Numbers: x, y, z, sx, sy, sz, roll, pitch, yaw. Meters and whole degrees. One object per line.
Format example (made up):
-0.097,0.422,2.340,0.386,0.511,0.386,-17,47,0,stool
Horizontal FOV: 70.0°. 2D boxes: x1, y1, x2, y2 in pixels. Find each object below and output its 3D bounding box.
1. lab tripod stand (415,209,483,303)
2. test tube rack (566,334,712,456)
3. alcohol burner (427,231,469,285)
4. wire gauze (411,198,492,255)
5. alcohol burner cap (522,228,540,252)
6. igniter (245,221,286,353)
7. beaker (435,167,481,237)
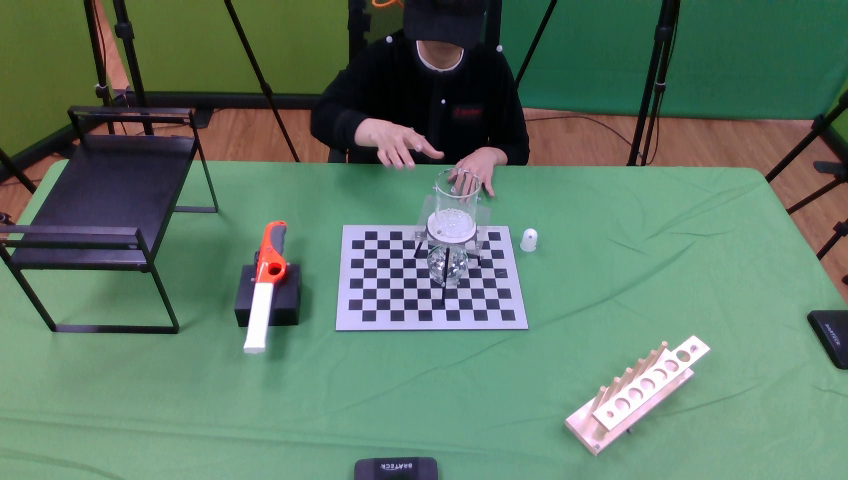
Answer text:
0.043,0.019,1.097,0.148,0.132,0.147,0,46,0,lab tripod stand
0.338,0.228,0.950,0.242,0.085,0.066,-27,52,-26,test tube rack
0.046,0.027,1.103,0.078,0.119,0.077,3,45,-3,alcohol burner
0.049,-0.029,1.052,0.125,0.011,0.121,10,44,12,wire gauze
0.214,-0.003,1.198,0.034,0.048,0.033,1,46,-1,alcohol burner cap
-0.270,0.070,1.040,0.057,0.025,0.274,2,48,-6,igniter
0.054,-0.063,1.016,0.074,0.101,0.083,5,45,3,beaker
